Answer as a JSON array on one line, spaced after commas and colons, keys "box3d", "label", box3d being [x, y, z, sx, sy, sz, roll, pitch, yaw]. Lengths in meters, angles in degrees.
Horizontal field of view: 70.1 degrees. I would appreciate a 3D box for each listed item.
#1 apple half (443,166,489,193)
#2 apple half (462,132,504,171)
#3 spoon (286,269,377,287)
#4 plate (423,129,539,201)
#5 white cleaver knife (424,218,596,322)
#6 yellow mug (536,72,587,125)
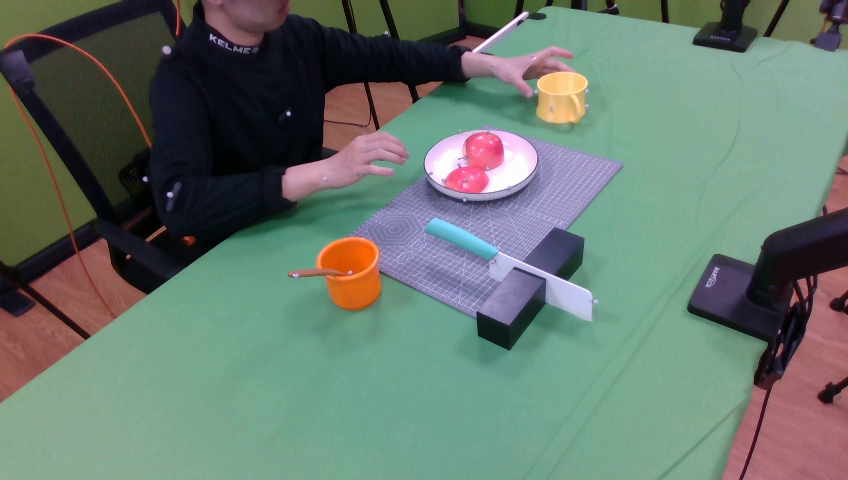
[{"box3d": [0.074, -0.112, 1.063, 0.081, 0.033, 0.081, -6, 39, 5], "label": "apple half"}, {"box3d": [0.109, -0.170, 1.110, 0.075, 0.053, 0.080, -6, 40, -2], "label": "apple half"}, {"box3d": [-0.125, 0.049, 0.831, 0.041, 0.195, 0.021, 22, 92, 28], "label": "spoon"}, {"box3d": [0.103, -0.132, 1.092, 0.209, 0.038, 0.208, -4, 40, 4], "label": "plate"}, {"box3d": [0.114, 0.042, 0.865, 0.284, 0.066, 0.021, 27, 47, 28], "label": "white cleaver knife"}, {"box3d": [0.284, -0.281, 1.222, 0.100, 0.064, 0.130, -16, 42, -10], "label": "yellow mug"}]
